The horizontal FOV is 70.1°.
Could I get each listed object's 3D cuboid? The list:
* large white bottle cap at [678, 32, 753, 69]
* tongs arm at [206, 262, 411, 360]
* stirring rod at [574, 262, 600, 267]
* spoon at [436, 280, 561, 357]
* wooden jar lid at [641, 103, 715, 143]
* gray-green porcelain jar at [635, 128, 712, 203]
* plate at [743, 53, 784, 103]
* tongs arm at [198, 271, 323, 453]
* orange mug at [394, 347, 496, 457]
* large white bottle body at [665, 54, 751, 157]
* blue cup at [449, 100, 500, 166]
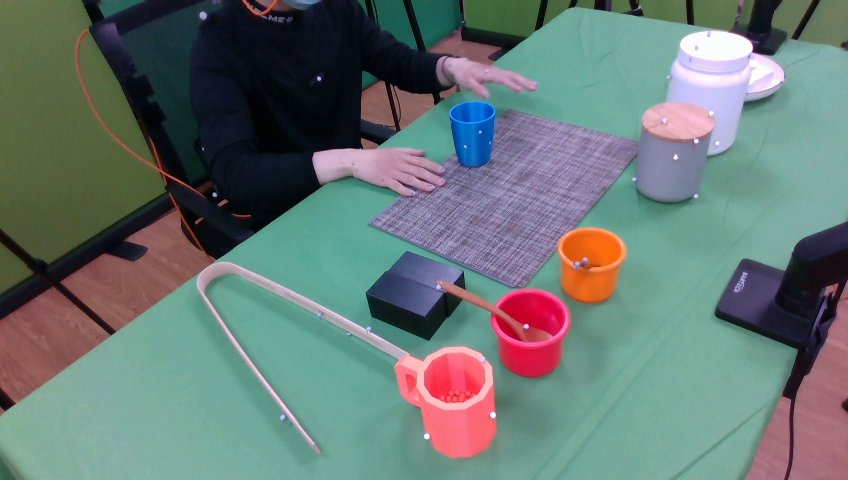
[{"bbox_3d":[0.491,-0.321,1.021,0.115,0.018,0.114,-4,41,4],"label":"large white bottle cap"},{"bbox_3d":[-0.179,0.106,0.870,0.381,0.026,0.051,23,54,32],"label":"tongs arm"},{"bbox_3d":[0.222,0.033,0.817,0.014,0.006,0.177,7,0,22],"label":"stirring rod"},{"bbox_3d":[0.096,0.095,0.758,0.195,0.021,0.041,34,40,-20],"label":"spoon"},{"bbox_3d":[0.398,-0.180,0.952,0.108,0.021,0.108,-4,43,4],"label":"wooden jar lid"},{"bbox_3d":[0.404,-0.133,0.992,0.106,0.127,0.105,-4,40,4],"label":"gray-green porcelain jar"},{"bbox_3d":[0.631,-0.336,1.262,0.207,0.039,0.206,-4,41,4],"label":"plate"},{"bbox_3d":[-0.236,0.153,0.830,0.028,0.028,0.384,-36,48,-18],"label":"tongs arm"},{"bbox_3d":[0.024,0.181,0.703,0.125,0.101,0.083,20,48,23],"label":"orange mug"},{"bbox_3d":[0.500,-0.257,1.076,0.130,0.185,0.130,-4,41,4],"label":"large white bottle body"},{"bbox_3d":[0.092,-0.194,1.123,0.092,0.100,0.092,-3,39,3],"label":"blue cup"}]
